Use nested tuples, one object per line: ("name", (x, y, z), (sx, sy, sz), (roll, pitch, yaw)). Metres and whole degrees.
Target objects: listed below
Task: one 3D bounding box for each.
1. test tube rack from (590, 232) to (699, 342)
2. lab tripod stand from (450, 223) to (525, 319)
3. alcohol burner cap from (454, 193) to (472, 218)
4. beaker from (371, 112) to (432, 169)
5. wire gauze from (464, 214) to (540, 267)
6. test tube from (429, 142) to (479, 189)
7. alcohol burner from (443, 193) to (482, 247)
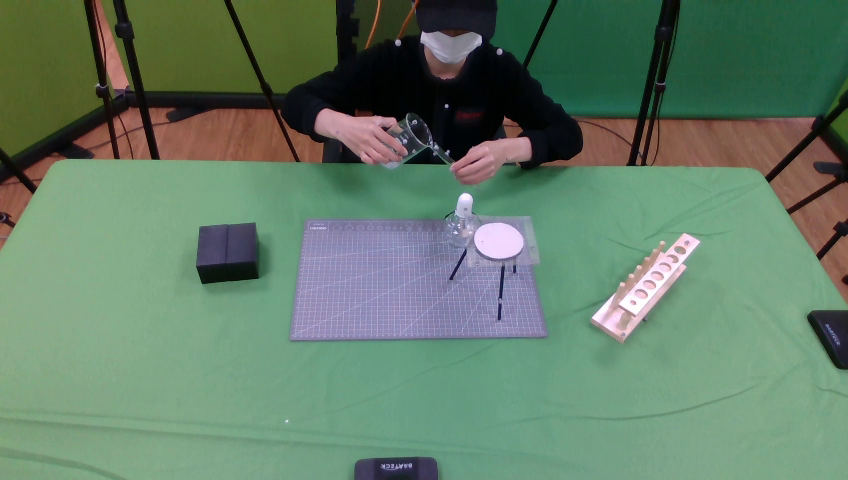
("test tube rack", (0.407, 0.074, 1.112), (0.066, 0.085, 0.242), (35, 53, 26))
("lab tripod stand", (0.120, 0.046, 1.080), (0.148, 0.132, 0.147), (1, 47, -1))
("alcohol burner cap", (0.076, -0.068, 1.151), (0.034, 0.048, 0.033), (4, 46, -4))
("beaker", (-0.044, -0.187, 1.171), (0.100, 0.084, 0.073), (-30, 32, 30))
("wire gauze", (0.131, -0.002, 1.034), (0.121, 0.011, 0.124), (1, 45, -2))
("test tube", (0.063, -0.147, 1.210), (0.017, 0.151, 0.017), (-28, 42, 29))
("alcohol burner", (0.075, -0.044, 1.177), (0.078, 0.120, 0.077), (2, 44, -1))
